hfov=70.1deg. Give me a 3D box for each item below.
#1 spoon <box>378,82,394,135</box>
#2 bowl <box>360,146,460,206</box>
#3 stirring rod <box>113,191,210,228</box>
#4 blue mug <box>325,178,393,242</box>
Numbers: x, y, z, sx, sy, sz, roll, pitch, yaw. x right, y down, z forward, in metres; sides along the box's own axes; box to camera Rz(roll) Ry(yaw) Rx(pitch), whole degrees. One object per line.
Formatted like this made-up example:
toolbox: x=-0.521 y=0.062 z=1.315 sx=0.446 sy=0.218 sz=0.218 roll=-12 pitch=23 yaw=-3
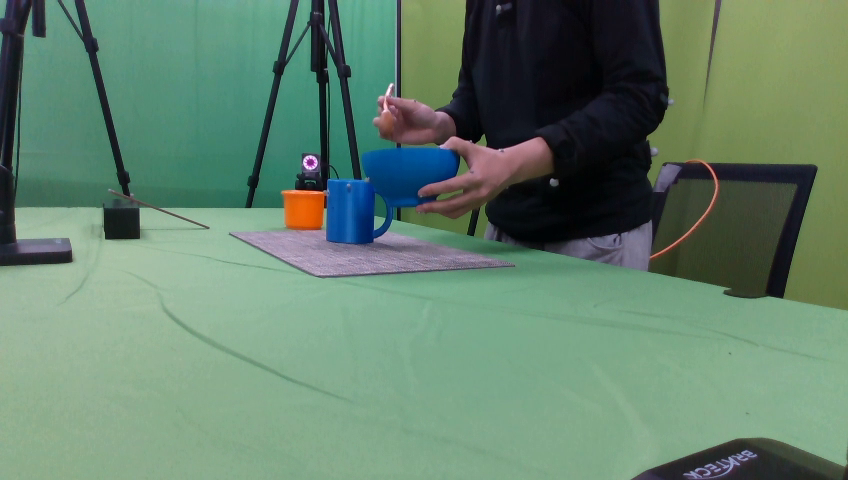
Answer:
spoon: x=-0.064 y=-0.233 z=1.033 sx=0.021 sy=0.042 sz=0.193 roll=-10 pitch=35 yaw=5
bowl: x=-0.020 y=-0.091 z=0.903 sx=0.151 sy=0.076 sz=0.151 roll=-1 pitch=0 yaw=0
stirring rod: x=-0.484 y=-0.055 z=1.121 sx=0.177 sy=0.006 sz=0.014 roll=22 pitch=-6 yaw=-22
blue mug: x=-0.111 y=-0.052 z=1.034 sx=0.116 sy=0.106 sz=0.082 roll=3 pitch=7 yaw=7
